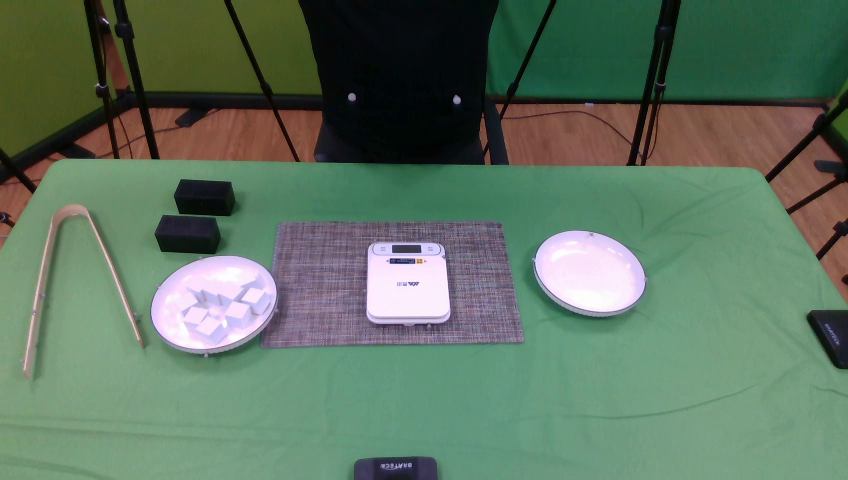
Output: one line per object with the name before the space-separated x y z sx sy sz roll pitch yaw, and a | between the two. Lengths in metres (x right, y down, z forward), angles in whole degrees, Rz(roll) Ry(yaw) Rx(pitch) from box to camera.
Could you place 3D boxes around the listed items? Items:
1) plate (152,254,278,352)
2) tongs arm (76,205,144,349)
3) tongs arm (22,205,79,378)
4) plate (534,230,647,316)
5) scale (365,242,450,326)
plate | -0.357 0.111 1.052 0.208 0.039 0.206 2 46 -2
tongs arm | -0.570 0.054 1.098 0.028 0.028 0.385 -25 53 -23
tongs arm | -0.652 0.073 1.067 0.051 0.026 0.382 -10 46 -15
plate | 0.310 0.065 1.145 0.209 0.038 0.208 2 45 -2
scale | -0.032 0.071 1.113 0.149 0.032 0.199 1 46 -4
